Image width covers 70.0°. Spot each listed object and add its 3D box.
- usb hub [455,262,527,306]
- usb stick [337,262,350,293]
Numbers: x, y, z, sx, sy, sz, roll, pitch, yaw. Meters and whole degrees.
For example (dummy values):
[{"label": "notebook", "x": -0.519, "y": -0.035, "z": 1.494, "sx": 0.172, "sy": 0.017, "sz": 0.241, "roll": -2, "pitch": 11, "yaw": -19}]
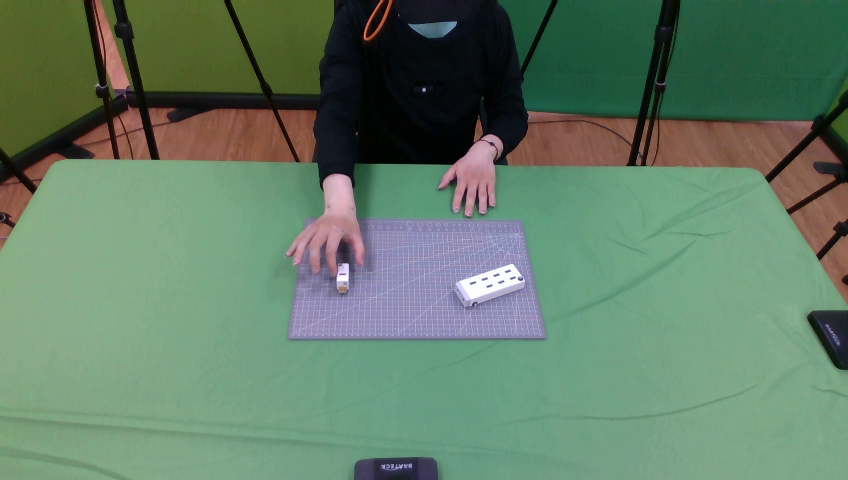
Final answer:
[{"label": "usb hub", "x": 0.124, "y": 0.082, "z": 1.117, "sx": 0.125, "sy": 0.025, "sz": 0.049, "roll": -17, "pitch": 50, "yaw": -18}, {"label": "usb stick", "x": -0.147, "y": 0.070, "z": 1.109, "sx": 0.021, "sy": 0.027, "sz": 0.059, "roll": 1, "pitch": 50, "yaw": -3}]
